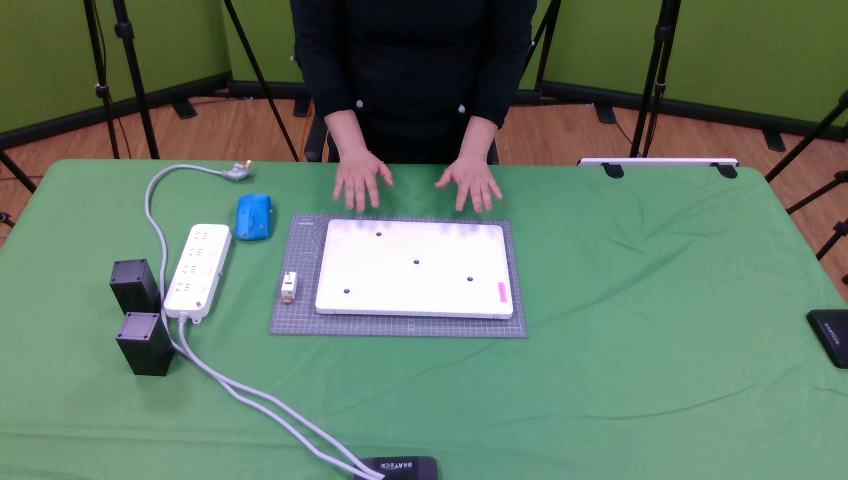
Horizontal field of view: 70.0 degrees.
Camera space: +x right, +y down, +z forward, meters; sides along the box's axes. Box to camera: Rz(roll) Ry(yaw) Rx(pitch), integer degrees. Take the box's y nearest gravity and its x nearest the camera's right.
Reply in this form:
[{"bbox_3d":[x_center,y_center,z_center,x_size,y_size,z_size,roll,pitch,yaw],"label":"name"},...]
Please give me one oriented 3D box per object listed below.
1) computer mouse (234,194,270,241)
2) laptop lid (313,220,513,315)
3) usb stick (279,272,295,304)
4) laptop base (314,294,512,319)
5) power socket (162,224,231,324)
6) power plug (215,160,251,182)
[{"bbox_3d":[-0.341,-0.049,1.208,0.063,0.041,0.116,0,50,-8],"label":"computer mouse"},{"bbox_3d":[-0.017,0.045,1.138,0.357,0.013,0.240,3,43,-1],"label":"laptop lid"},{"bbox_3d":[-0.246,0.088,1.085,0.021,0.027,0.059,4,47,-5],"label":"usb stick"},{"bbox_3d":[-0.018,0.055,1.144,0.354,0.023,0.234,2,42,-2],"label":"laptop base"},{"bbox_3d":[-0.411,0.052,1.106,0.072,0.033,0.225,3,46,-2],"label":"power socket"},{"bbox_3d":[-0.409,-0.155,1.302,0.072,0.035,0.052,22,68,3],"label":"power plug"}]
